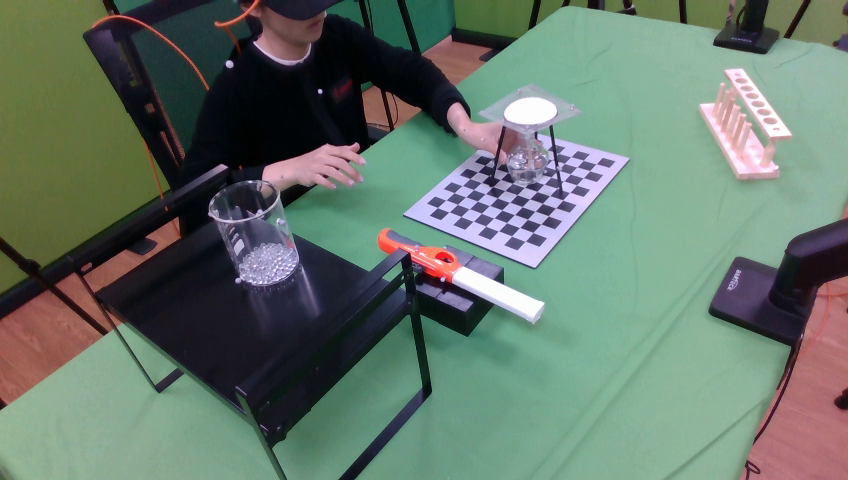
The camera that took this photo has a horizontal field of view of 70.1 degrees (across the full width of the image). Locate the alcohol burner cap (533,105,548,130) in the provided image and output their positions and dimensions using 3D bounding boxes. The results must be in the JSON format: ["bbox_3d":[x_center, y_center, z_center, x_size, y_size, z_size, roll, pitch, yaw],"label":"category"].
[{"bbox_3d":[0.235,-0.251,1.217,0.034,0.048,0.033,-5,41,5],"label":"alcohol burner cap"}]

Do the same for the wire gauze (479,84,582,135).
[{"bbox_3d":[0.176,-0.216,1.006,0.125,0.011,0.120,-29,46,-21],"label":"wire gauze"}]

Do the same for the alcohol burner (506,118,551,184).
[{"bbox_3d":[0.183,-0.159,1.057,0.078,0.119,0.077,-4,39,4],"label":"alcohol burner"}]

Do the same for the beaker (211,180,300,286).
[{"bbox_3d":[-0.183,-0.007,0.674,0.074,0.101,0.083,-1,40,7],"label":"beaker"}]

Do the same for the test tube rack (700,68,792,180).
[{"bbox_3d":[0.572,-0.215,1.089,0.066,0.085,0.241,-3,41,7],"label":"test tube rack"}]

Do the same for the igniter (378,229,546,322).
[{"bbox_3d":[0.041,0.043,0.843,0.274,0.025,0.057,24,47,29],"label":"igniter"}]

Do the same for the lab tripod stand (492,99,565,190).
[{"bbox_3d":[0.184,-0.163,1.046,0.148,0.132,0.147,-5,43,5],"label":"lab tripod stand"}]
